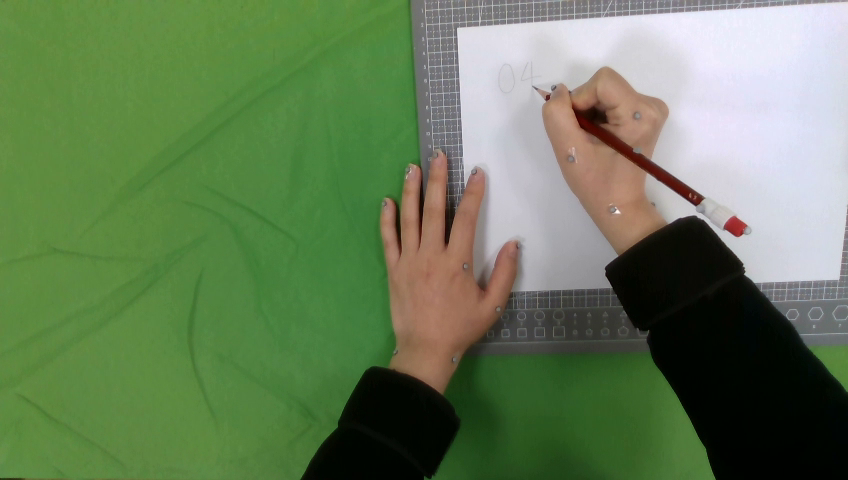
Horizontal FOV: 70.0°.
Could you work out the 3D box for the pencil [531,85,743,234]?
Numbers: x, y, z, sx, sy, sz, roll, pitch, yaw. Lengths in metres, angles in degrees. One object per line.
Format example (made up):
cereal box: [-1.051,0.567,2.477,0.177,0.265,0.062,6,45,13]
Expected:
pencil: [0.130,-0.062,0.402,0.012,0.192,0.012,-21,137,-21]
